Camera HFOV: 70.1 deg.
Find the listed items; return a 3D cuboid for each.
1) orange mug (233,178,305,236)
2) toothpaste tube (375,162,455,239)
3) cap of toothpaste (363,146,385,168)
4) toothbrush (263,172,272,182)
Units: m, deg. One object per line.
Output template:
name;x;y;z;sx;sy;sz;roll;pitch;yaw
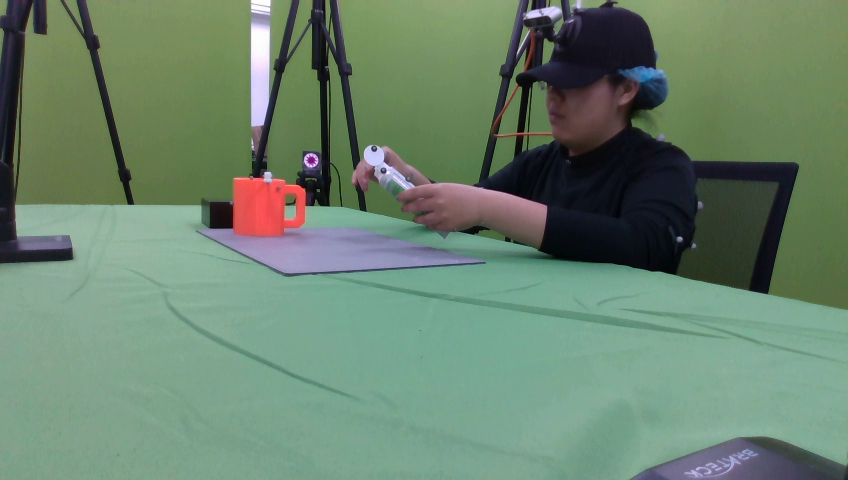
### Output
orange mug;-0.273;-0.061;1.067;0.127;0.101;0.083;-5;10;-24
toothpaste tube;-0.018;-0.070;0.992;0.034;0.165;0.055;-44;-5;-30
cap of toothpaste;-0.081;-0.134;0.980;0.037;0.037;0.011;1;1;-12
toothbrush;-0.273;-0.112;1.055;0.014;0.016;0.181;-8;10;-13
